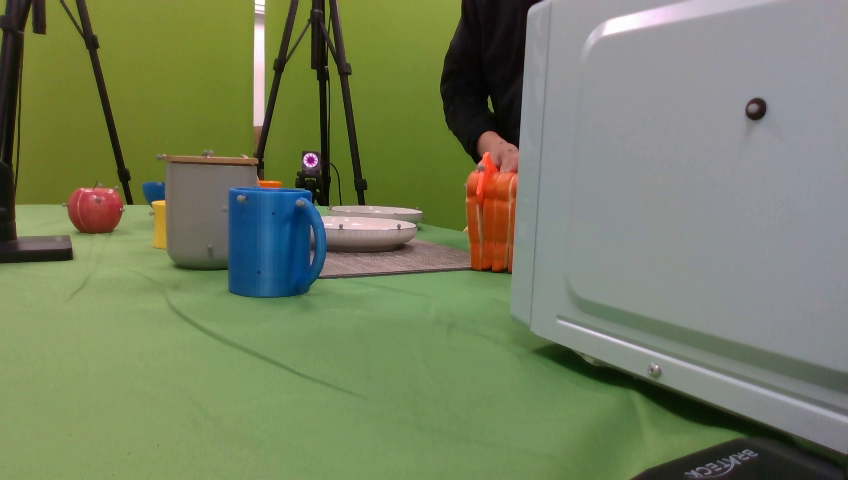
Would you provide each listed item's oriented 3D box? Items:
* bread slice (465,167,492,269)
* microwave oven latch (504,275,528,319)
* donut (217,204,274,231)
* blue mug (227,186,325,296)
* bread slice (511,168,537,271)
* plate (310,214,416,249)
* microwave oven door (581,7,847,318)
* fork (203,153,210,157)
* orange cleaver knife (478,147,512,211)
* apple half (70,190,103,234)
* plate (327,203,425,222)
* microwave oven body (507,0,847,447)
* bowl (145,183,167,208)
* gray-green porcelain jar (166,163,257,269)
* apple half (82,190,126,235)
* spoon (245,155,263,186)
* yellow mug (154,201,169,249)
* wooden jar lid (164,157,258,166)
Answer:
[{"bbox_3d":[0.076,-0.036,0.839,0.019,0.131,0.105,4,14,16],"label":"bread slice"},{"bbox_3d":[0.100,0.042,0.471,0.079,0.029,0.030,-1,7,-28],"label":"microwave oven latch"},{"bbox_3d":[-0.318,-0.038,1.080,0.099,0.048,0.099,3,7,0],"label":"donut"},{"bbox_3d":[-0.146,0.000,0.618,0.116,0.106,0.083,7,9,32],"label":"blue mug"},{"bbox_3d":[0.136,-0.030,0.822,0.018,0.134,0.107,1,9,20],"label":"bread slice"},{"bbox_3d":[-0.117,-0.014,0.967,0.208,0.039,0.207,2,7,0],"label":"plate"},{"bbox_3d":[0.295,-0.067,0.569,0.358,0.243,0.039,-3,8,-31],"label":"microwave oven door"},{"bbox_3d":[-0.480,-0.135,1.411,0.028,0.018,0.207,1,-34,-1],"label":"fork"},{"bbox_3d":[0.104,-0.081,0.872,0.012,0.077,0.212,2,-1,18],"label":"orange cleaver knife"},{"bbox_3d":[-0.552,-0.047,1.009,0.053,0.074,0.081,-1,9,26],"label":"apple half"},{"bbox_3d":[-0.102,-0.053,1.299,0.209,0.038,0.209,2,8,0],"label":"plate"},{"bbox_3d":[0.331,-0.042,0.425,0.444,0.260,0.324,-2,8,-31],"label":"microwave oven body"},{"bbox_3d":[-0.459,-0.069,1.175,0.151,0.077,0.151,3,7,0],"label":"bowl"},{"bbox_3d":[-0.263,-0.031,0.754,0.106,0.126,0.106,2,7,0],"label":"gray-green porcelain jar"},{"bbox_3d":[-0.516,-0.046,0.994,0.032,0.081,0.081,0,6,26],"label":"apple half"},{"bbox_3d":[-0.421,-0.150,1.540,0.042,0.021,0.193,-5,55,-37],"label":"spoon"},{"bbox_3d":[-0.338,-0.022,0.899,0.130,0.064,0.100,8,9,34],"label":"yellow mug"},{"bbox_3d":[-0.261,-0.093,0.746,0.108,0.020,0.108,0,9,0],"label":"wooden jar lid"}]
